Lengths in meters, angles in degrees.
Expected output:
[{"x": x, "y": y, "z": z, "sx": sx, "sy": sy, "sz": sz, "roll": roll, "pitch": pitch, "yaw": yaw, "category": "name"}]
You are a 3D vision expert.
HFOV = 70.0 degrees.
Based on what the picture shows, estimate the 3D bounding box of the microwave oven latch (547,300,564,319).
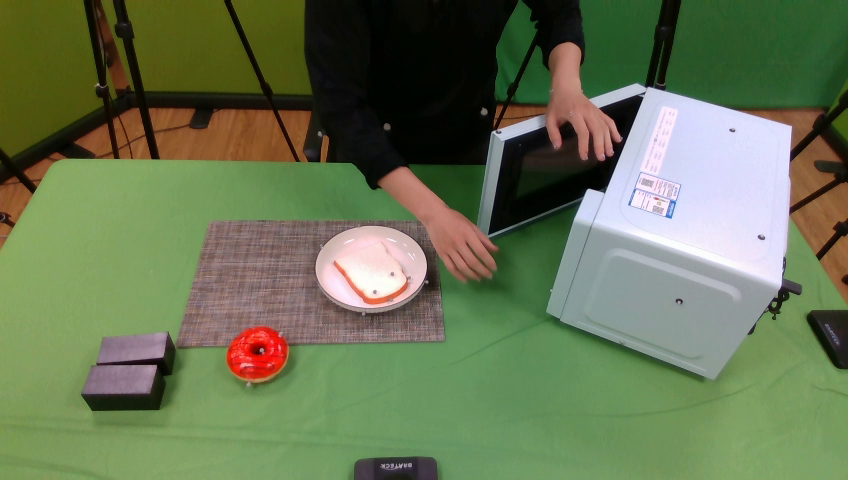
[{"x": 0.242, "y": 0.102, "z": 1.081, "sx": 0.030, "sy": 0.029, "sz": 0.079, "roll": 21, "pitch": 48, "yaw": 17, "category": "microwave oven latch"}]

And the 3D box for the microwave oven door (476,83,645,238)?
[{"x": 0.269, "y": -0.158, "z": 1.192, "sx": 0.356, "sy": 0.245, "sz": 0.039, "roll": -22, "pitch": 51, "yaw": -23, "category": "microwave oven door"}]

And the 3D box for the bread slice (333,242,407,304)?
[{"x": -0.092, "y": 0.060, "z": 1.117, "sx": 0.105, "sy": 0.019, "sz": 0.130, "roll": -24, "pitch": 52, "yaw": -24, "category": "bread slice"}]

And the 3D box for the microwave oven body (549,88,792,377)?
[{"x": 0.456, "y": -0.028, "z": 1.088, "sx": 0.325, "sy": 0.261, "sz": 0.440, "roll": 20, "pitch": 47, "yaw": 16, "category": "microwave oven body"}]

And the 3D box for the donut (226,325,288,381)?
[{"x": -0.270, "y": 0.182, "z": 0.984, "sx": 0.099, "sy": 0.048, "sz": 0.098, "roll": 5, "pitch": 49, "yaw": -5, "category": "donut"}]

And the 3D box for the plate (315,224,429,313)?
[{"x": -0.096, "y": 0.055, "z": 1.121, "sx": 0.208, "sy": 0.039, "sz": 0.206, "roll": 2, "pitch": 46, "yaw": -2, "category": "plate"}]
